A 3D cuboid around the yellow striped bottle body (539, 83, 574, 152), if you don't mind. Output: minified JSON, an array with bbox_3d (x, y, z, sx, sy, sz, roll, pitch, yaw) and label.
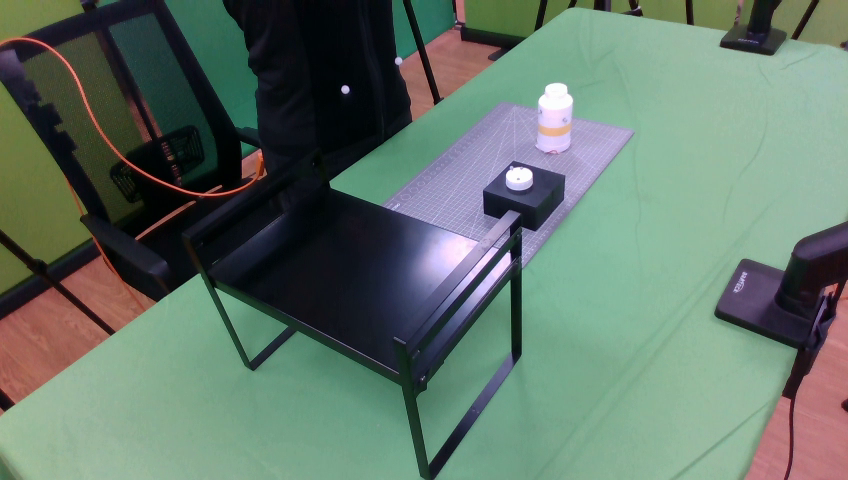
[{"bbox_3d":[0.246,-0.230,1.127,0.063,0.121,0.062,-5,41,5],"label":"yellow striped bottle body"}]

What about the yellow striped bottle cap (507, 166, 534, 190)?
[{"bbox_3d":[0.159,-0.102,0.995,0.044,0.019,0.044,-6,39,5],"label":"yellow striped bottle cap"}]
